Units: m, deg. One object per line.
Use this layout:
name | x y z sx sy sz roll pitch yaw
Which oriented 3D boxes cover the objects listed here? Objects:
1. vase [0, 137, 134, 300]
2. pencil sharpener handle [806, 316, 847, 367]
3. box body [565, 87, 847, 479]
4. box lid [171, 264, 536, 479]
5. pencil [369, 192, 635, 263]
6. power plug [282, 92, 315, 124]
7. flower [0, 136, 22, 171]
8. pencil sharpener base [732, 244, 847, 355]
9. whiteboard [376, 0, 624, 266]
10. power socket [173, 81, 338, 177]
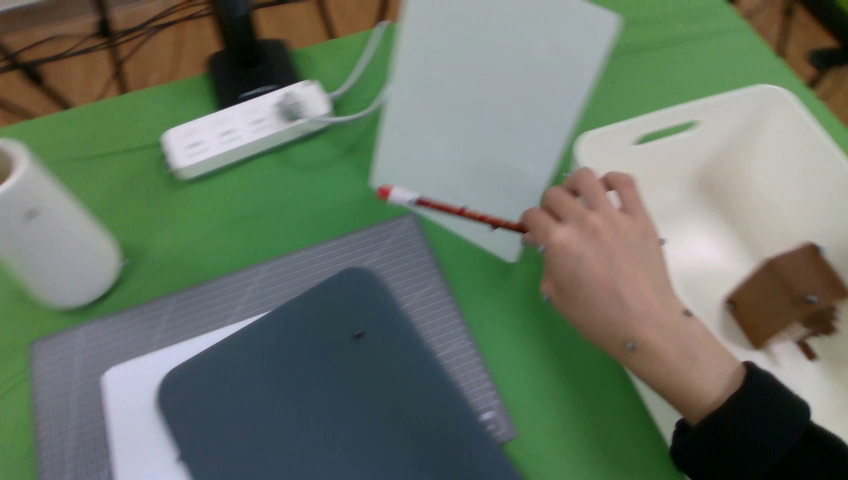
vase | -0.385 -0.016 0.628 0.098 0.201 0.097 0 59 1
pencil sharpener handle | 0.406 0.101 0.599 0.036 0.068 0.030 -18 61 -9
box body | 0.331 0.047 0.619 0.254 0.161 0.360 -16 60 -10
box lid | -0.067 0.210 0.604 0.263 0.015 0.368 -30 65 -18
pencil | 0.056 -0.007 0.430 0.194 0.012 0.012 14 59 0
power plug | -0.162 -0.160 0.786 0.035 0.053 0.072 -15 62 -9
flower | -0.386 -0.076 0.567 0.038 0.365 0.043 -30 45 -25
pencil sharpener base | 0.388 0.067 0.633 0.061 0.108 0.076 -16 61 -12
whiteboard | 0.091 -0.162 0.694 0.216 0.307 0.143 30 44 17
power socket | -0.221 -0.150 0.806 0.227 0.033 0.071 -24 63 -15
